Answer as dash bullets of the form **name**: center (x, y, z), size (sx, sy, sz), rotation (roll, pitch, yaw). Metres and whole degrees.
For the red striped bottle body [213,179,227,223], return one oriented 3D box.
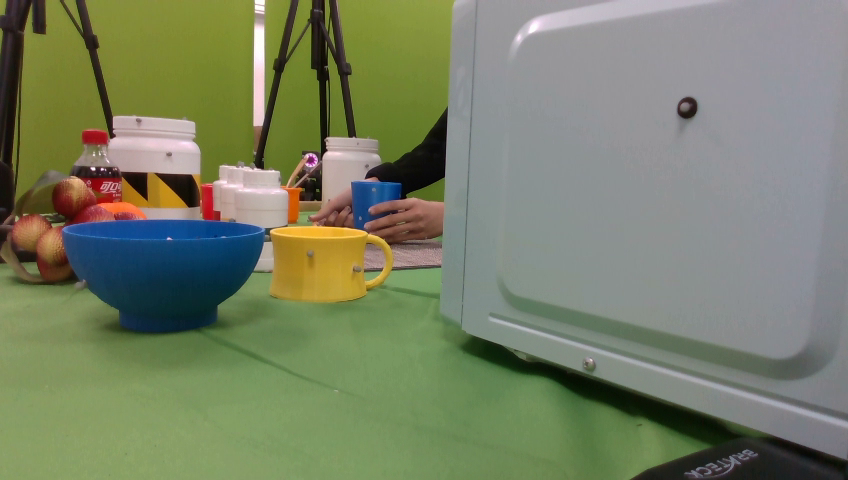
- **red striped bottle body**: center (-0.284, -0.048, 0.910), size (0.063, 0.119, 0.063), rotation (3, 12, 0)

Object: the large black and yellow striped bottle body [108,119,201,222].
- **large black and yellow striped bottle body**: center (-0.412, -0.088, 0.930), size (0.131, 0.184, 0.130), rotation (3, 7, 0)

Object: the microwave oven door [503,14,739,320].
- **microwave oven door**: center (0.218, -0.065, 0.600), size (0.358, 0.243, 0.039), rotation (-4, 10, -41)

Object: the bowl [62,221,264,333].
- **bowl**: center (-0.209, 0.029, 0.496), size (0.151, 0.077, 0.151), rotation (2, 7, 0)

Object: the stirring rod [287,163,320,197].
- **stirring rod**: center (-0.283, -0.107, 1.298), size (0.014, 0.006, 0.176), rotation (10, 53, 50)

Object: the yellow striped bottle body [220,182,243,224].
- **yellow striped bottle body**: center (-0.246, -0.036, 0.825), size (0.063, 0.120, 0.063), rotation (3, 8, 0)

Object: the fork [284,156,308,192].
- **fork**: center (-0.295, -0.116, 1.323), size (0.028, 0.019, 0.207), rotation (1, 50, 21)

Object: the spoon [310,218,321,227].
- **spoon**: center (-0.200, -0.028, 1.109), size (0.042, 0.021, 0.193), rotation (-17, 14, -9)

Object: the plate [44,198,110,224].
- **plate**: center (-0.617, -0.056, 1.179), size (0.209, 0.038, 0.209), rotation (3, 7, 0)

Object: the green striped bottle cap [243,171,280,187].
- **green striped bottle cap**: center (-0.198, -0.074, 0.736), size (0.044, 0.020, 0.044), rotation (1, 7, 0)

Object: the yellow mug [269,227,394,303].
- **yellow mug**: center (-0.094, 0.023, 0.629), size (0.131, 0.064, 0.099), rotation (0, 7, -22)

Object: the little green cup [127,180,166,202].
- **little green cup**: center (-0.485, -0.086, 1.061), size (0.061, 0.038, 0.061), rotation (1, 7, 0)

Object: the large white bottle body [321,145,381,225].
- **large white bottle body**: center (-0.162, -0.131, 1.340), size (0.131, 0.184, 0.130), rotation (2, 8, 0)

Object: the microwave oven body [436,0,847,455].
- **microwave oven body**: center (0.279, -0.040, 0.465), size (0.444, 0.260, 0.324), rotation (-3, 9, -41)

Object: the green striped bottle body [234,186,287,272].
- **green striped bottle body**: center (-0.201, -0.023, 0.743), size (0.063, 0.119, 0.063), rotation (2, 7, 0)

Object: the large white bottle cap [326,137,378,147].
- **large white bottle cap**: center (-0.158, -0.214, 1.329), size (0.115, 0.018, 0.115), rotation (2, 8, 0)

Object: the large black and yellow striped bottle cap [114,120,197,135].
- **large black and yellow striped bottle cap**: center (-0.407, -0.171, 0.920), size (0.115, 0.019, 0.115), rotation (2, 9, 0)

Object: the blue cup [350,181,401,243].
- **blue cup**: center (-0.082, -0.047, 1.012), size (0.093, 0.100, 0.092), rotation (2, 7, 0)

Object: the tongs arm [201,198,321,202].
- **tongs arm**: center (-0.433, -0.090, 1.508), size (0.390, 0.028, 0.028), rotation (-1, 2, -29)

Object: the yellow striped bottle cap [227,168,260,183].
- **yellow striped bottle cap**: center (-0.243, -0.087, 0.818), size (0.044, 0.018, 0.044), rotation (3, 6, 0)

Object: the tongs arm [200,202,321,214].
- **tongs arm**: center (-0.378, -0.079, 1.440), size (0.387, 0.026, 0.050), rotation (-4, 8, -44)

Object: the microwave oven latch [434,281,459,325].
- **microwave oven latch**: center (0.044, 0.045, 0.470), size (0.079, 0.029, 0.030), rotation (-2, 8, -39)

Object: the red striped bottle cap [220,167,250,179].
- **red striped bottle cap**: center (-0.281, -0.099, 0.901), size (0.044, 0.017, 0.044), rotation (-1, 5, 0)
